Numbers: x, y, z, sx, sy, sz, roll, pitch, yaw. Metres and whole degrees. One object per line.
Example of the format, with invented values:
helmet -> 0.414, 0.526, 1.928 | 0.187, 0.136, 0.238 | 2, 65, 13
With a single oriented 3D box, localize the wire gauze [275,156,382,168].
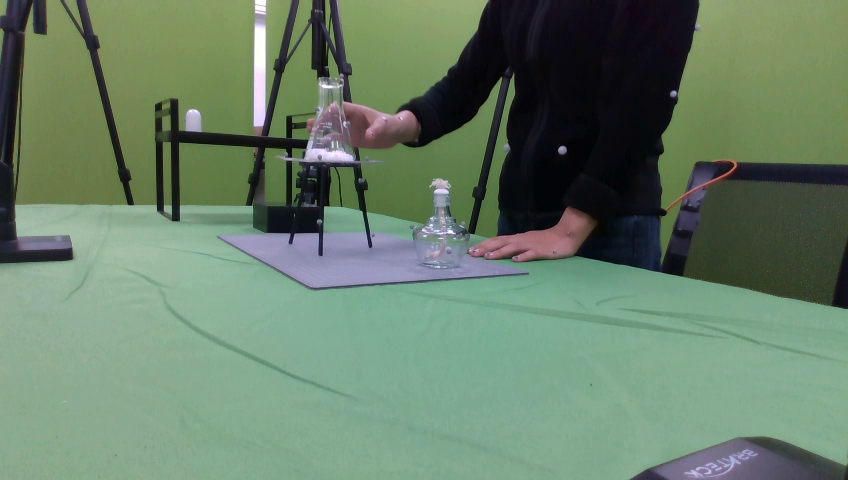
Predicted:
wire gauze -> -0.142, -0.116, 0.900 | 0.122, 0.011, 0.124 | -1, 5, -37

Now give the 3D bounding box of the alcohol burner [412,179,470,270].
alcohol burner -> 0.023, -0.021, 0.805 | 0.078, 0.119, 0.078 | 0, 8, 0

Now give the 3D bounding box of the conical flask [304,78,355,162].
conical flask -> -0.139, -0.175, 0.893 | 0.075, 0.122, 0.075 | 2, 8, 0

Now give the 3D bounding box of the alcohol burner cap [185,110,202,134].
alcohol burner cap -> -0.470, -0.242, 1.234 | 0.034, 0.048, 0.034 | 3, 7, 0

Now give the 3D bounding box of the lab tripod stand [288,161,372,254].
lab tripod stand -> -0.147, -0.052, 0.909 | 0.148, 0.131, 0.148 | 1, 8, 0
